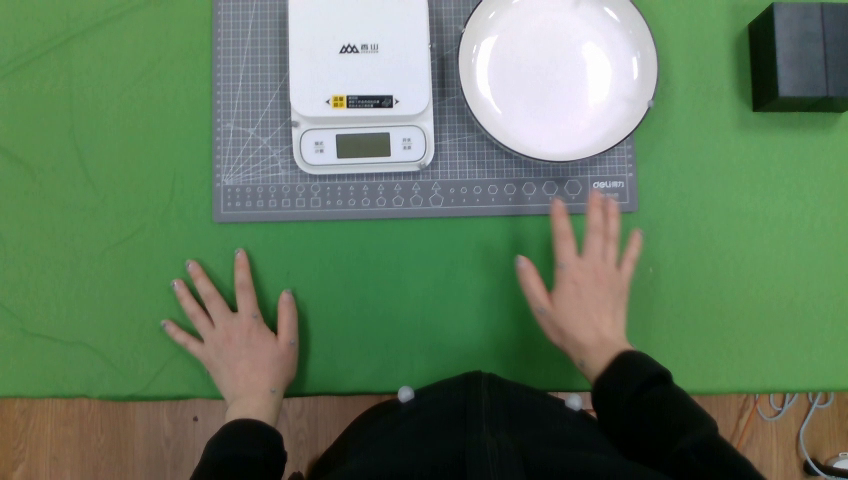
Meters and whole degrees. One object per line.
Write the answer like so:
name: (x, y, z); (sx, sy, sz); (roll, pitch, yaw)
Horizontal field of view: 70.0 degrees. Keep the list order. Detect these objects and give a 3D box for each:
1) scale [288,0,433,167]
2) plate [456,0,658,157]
scale: (-0.067, -0.180, 0.637); (0.149, 0.031, 0.200); (-2, 86, 0)
plate: (0.137, -0.186, 0.637); (0.209, 0.038, 0.208); (0, 85, -1)
